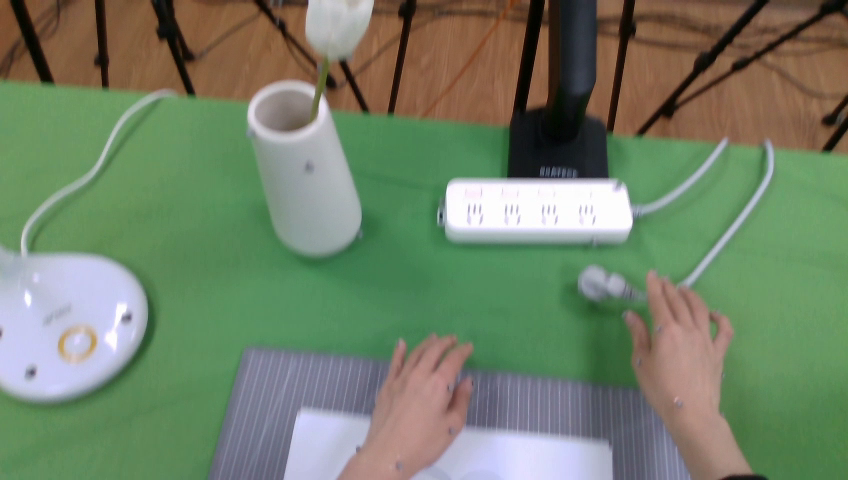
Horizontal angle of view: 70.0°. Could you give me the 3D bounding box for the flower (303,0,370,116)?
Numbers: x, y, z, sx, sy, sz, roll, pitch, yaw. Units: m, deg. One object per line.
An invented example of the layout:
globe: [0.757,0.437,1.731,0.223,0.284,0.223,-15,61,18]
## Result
flower: [-0.103,-0.107,0.535,0.044,0.362,0.038,-33,83,-27]

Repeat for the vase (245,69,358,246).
vase: [-0.123,-0.076,0.611,0.098,0.201,0.097,0,60,1]

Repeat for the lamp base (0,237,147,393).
lamp base: [-0.376,0.033,0.556,0.178,0.182,0.160,35,65,21]

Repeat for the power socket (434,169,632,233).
power socket: [0.125,-0.045,0.693,0.227,0.033,0.071,1,61,-1]

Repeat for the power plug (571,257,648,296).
power plug: [0.191,0.048,0.642,0.073,0.052,0.035,42,72,-8]
